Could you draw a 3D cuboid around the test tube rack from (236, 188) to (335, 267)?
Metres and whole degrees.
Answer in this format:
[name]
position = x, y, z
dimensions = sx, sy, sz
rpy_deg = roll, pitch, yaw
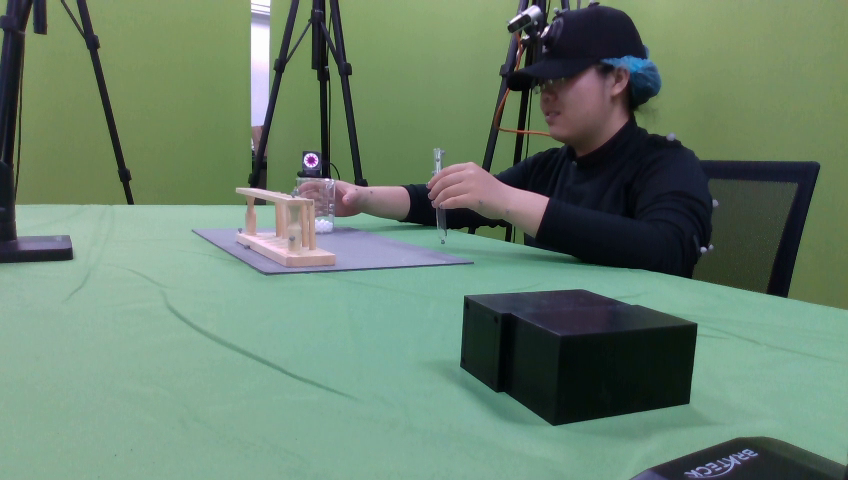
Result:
[test tube rack]
position = -0.202, -0.024, 0.855
dimensions = 0.067, 0.085, 0.241
rpy_deg = -2, 9, -31

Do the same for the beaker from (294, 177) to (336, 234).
[beaker]
position = -0.197, -0.063, 1.107
dimensions = 0.083, 0.100, 0.074
rpy_deg = 10, 11, 40

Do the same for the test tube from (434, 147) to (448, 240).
[test tube]
position = 0.027, -0.075, 0.971
dimensions = 0.017, 0.150, 0.017
rpy_deg = -3, -5, 0
